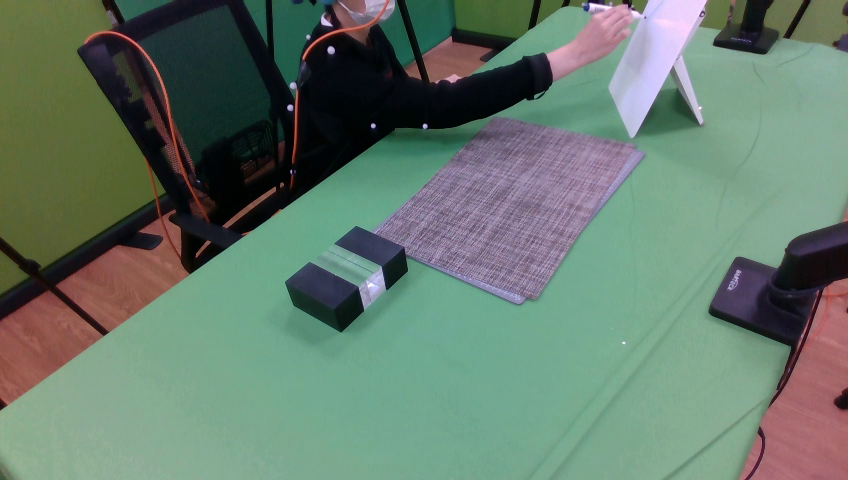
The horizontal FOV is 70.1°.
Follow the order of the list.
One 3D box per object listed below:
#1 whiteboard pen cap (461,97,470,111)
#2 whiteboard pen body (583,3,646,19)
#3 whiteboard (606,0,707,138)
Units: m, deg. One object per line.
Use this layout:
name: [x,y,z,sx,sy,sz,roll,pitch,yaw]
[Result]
whiteboard pen cap: [0.088,-0.289,1.286,0.018,0.018,0.033,-6,42,1]
whiteboard pen body: [0.367,-0.436,1.156,0.141,0.017,0.017,0,37,-20]
whiteboard: [0.496,-0.359,1.147,0.144,0.305,0.216,11,40,-7]
